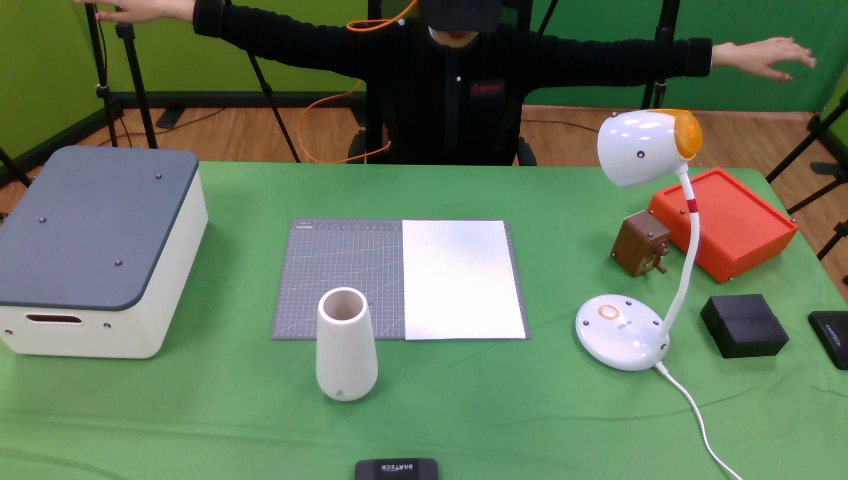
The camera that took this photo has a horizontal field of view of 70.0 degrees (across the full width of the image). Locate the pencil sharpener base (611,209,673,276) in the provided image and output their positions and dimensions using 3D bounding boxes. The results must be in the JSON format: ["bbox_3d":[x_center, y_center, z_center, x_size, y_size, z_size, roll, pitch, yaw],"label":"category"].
[{"bbox_3d":[0.416,0.007,1.158,0.061,0.107,0.076,-21,51,-22],"label":"pencil sharpener base"}]

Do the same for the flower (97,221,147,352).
[{"bbox_3d":[-0.557,0.069,1.089,0.044,0.038,0.359,-24,47,-19],"label":"flower"}]

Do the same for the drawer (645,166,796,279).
[{"bbox_3d":[0.600,-0.041,1.236,0.195,0.073,0.210,-21,51,-23],"label":"drawer"}]

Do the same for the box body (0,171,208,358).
[{"bbox_3d":[-0.546,0.017,1.045,0.254,0.161,0.361,2,46,-2],"label":"box body"}]

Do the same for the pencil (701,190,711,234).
[{"bbox_3d":[0.585,-0.059,1.256,0.012,0.012,0.193,16,34,11],"label":"pencil"}]

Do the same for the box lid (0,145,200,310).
[{"bbox_3d":[-0.541,-0.037,0.993,0.263,0.015,0.369,3,45,-2],"label":"box lid"}]

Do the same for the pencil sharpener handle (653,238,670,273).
[{"bbox_3d":[0.444,0.030,1.120,0.036,0.068,0.030,-25,52,-18],"label":"pencil sharpener handle"}]

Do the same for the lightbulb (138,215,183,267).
[{"bbox_3d":[-0.496,0.003,1.131,0.059,0.060,0.107,18,63,13],"label":"lightbulb"}]

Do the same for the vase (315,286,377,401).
[{"bbox_3d":[-0.119,0.159,0.911,0.098,0.201,0.097,2,47,-2],"label":"vase"}]

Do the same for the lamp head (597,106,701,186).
[{"bbox_3d":[0.329,-0.138,0.865,0.112,0.113,0.122,-36,20,-32],"label":"lamp head"}]

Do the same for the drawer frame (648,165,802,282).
[{"bbox_3d":[0.603,-0.040,1.233,0.202,0.083,0.212,-21,51,-23],"label":"drawer frame"}]

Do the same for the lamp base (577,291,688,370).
[{"bbox_3d":[0.361,0.110,1.003,0.160,0.181,0.178,-30,57,-29],"label":"lamp base"}]
